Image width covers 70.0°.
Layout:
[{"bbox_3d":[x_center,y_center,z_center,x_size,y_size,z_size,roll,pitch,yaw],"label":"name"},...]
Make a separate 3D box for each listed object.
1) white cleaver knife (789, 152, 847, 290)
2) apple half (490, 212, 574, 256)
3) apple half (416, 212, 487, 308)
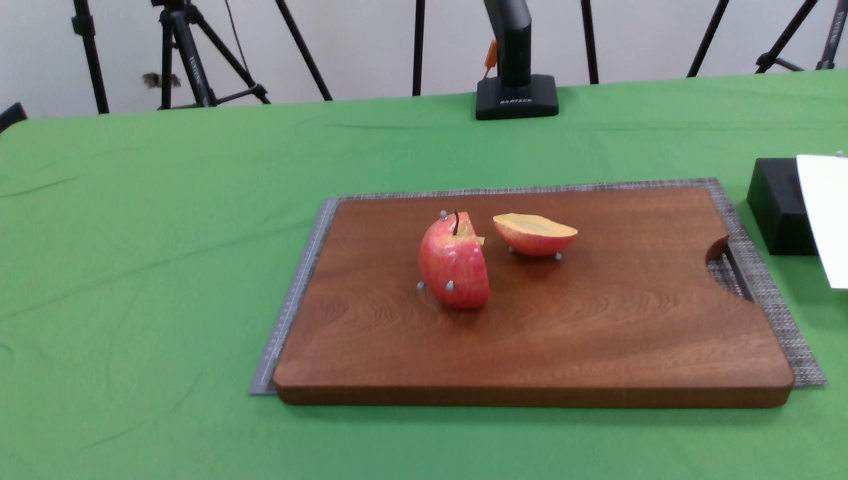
[{"bbox_3d":[0.369,0.023,0.514,0.065,0.022,0.284,-1,48,14],"label":"white cleaver knife"},{"bbox_3d":[0.097,-0.002,0.572,0.081,0.033,0.081,7,18,-2],"label":"apple half"},{"bbox_3d":[0.021,0.021,0.529,0.053,0.075,0.080,-14,41,-2],"label":"apple half"}]
